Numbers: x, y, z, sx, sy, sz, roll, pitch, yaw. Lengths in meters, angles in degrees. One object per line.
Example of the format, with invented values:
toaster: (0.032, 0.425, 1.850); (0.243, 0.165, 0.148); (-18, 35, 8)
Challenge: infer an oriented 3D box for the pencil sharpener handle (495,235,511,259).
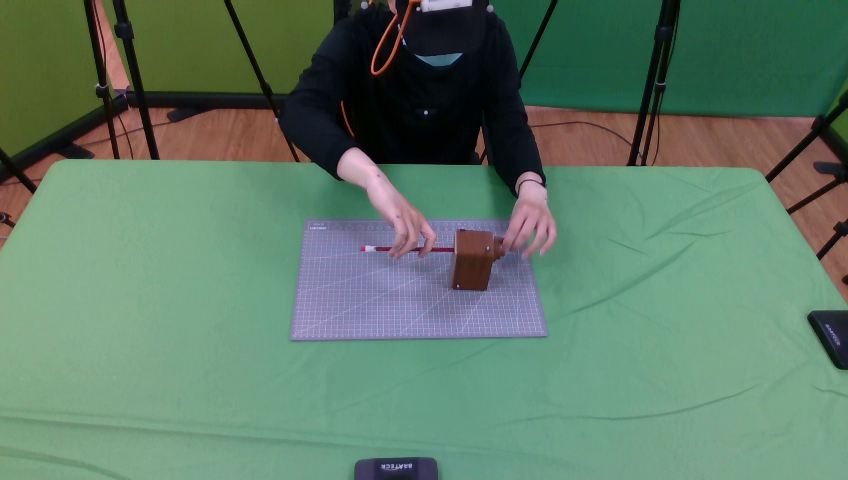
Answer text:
pencil sharpener handle: (0.144, 0.011, 1.094); (0.030, 0.036, 0.067); (3, 32, -1)

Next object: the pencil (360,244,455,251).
pencil: (-0.016, 0.014, 1.080); (0.194, 0.012, 0.012); (0, 47, 0)

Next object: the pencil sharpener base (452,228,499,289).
pencil sharpener base: (0.092, 0.035, 1.101); (0.077, 0.107, 0.061); (3, 47, -1)
